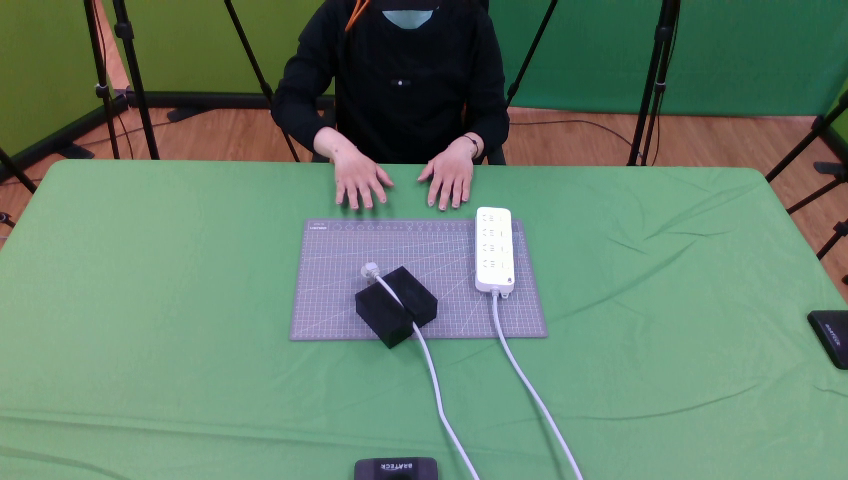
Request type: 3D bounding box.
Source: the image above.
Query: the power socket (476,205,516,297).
[{"bbox_3d":[0.139,0.013,1.178,0.072,0.033,0.225,4,47,2],"label":"power socket"}]

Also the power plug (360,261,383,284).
[{"bbox_3d":[-0.094,0.068,1.092,0.035,0.053,0.072,-9,45,-6],"label":"power plug"}]
